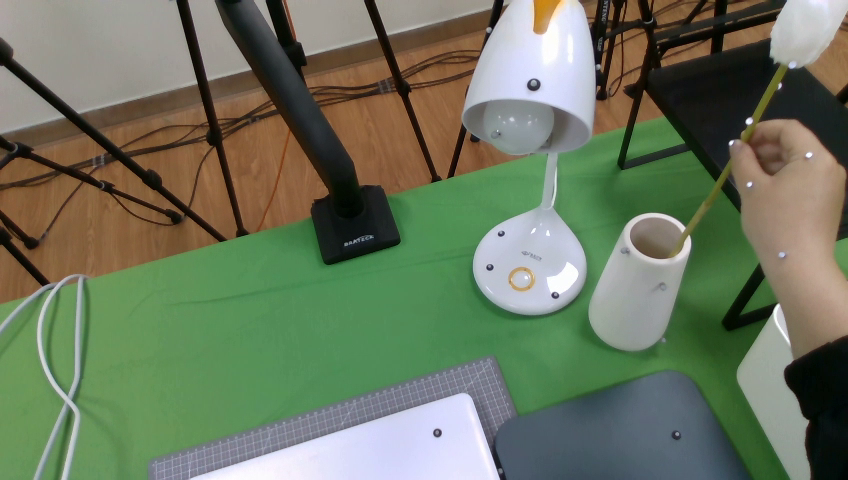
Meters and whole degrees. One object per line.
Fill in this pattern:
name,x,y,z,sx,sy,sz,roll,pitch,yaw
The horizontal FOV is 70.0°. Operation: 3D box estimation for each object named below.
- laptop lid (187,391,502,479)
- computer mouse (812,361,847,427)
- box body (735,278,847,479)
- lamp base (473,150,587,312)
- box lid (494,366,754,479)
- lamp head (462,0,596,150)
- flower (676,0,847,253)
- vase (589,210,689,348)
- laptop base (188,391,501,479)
laptop lid,-0.080,0.321,0.665,0.357,0.013,0.239,-14,58,-5
computer mouse,0.484,0.192,0.699,0.062,0.041,0.116,15,55,18
box body,0.525,0.220,0.607,0.254,0.162,0.360,-14,55,-4
lamp base,0.146,-0.024,0.800,0.160,0.182,0.178,12,55,14
box lid,0.251,0.326,0.649,0.263,0.015,0.367,-16,56,-7
lamp head,0.098,-0.149,0.525,0.112,0.113,0.122,9,75,12
flower,0.262,-0.059,0.532,0.044,0.365,0.038,-23,57,-13
vase,0.256,0.050,0.727,0.098,0.202,0.097,-3,54,5
laptop base,-0.080,0.325,0.675,0.355,0.023,0.233,-16,59,-6
